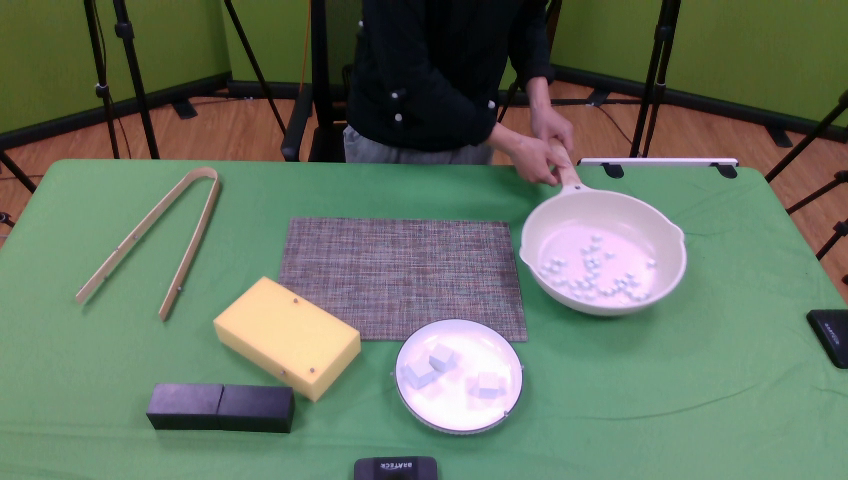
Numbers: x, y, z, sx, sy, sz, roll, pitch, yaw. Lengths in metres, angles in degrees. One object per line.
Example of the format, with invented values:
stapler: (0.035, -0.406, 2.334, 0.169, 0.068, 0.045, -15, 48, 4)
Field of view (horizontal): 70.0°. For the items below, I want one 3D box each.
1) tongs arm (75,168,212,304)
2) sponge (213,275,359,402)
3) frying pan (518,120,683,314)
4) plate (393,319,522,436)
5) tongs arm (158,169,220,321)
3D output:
tongs arm: (-0.526, -0.021, 1.167, 0.051, 0.026, 0.383, 13, 45, 7)
sponge: (-0.225, 0.158, 0.998, 0.206, 0.061, 0.118, 27, 52, 18)
frying pan: (0.308, -0.062, 1.191, 0.307, 0.103, 0.484, -8, 57, -5)
plate: (0.053, 0.222, 0.978, 0.208, 0.039, 0.206, 2, 46, -2)
tongs arm: (-0.446, -0.005, 1.165, 0.028, 0.028, 0.385, 2, 46, 0)
